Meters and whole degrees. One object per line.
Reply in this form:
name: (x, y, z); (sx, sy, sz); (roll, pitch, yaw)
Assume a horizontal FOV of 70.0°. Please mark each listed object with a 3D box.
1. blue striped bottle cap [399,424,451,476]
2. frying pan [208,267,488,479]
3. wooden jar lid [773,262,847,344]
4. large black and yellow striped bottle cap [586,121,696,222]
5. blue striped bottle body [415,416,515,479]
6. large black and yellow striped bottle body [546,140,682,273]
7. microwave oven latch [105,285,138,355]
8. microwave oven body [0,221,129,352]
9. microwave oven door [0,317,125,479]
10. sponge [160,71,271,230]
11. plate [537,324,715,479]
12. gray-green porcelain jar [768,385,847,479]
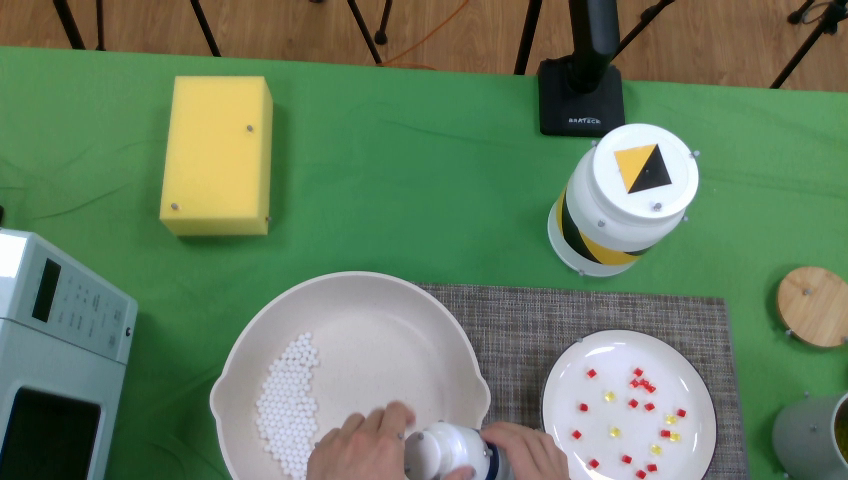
blue striped bottle cap: (0.000, 0.183, 0.528); (0.044, 0.021, 0.044); (-13, 67, 35)
frying pan: (-0.085, 0.269, 0.646); (0.307, 0.103, 0.483); (2, 62, 0)
wooden jar lid: (0.507, 0.083, 0.791); (0.108, 0.021, 0.107); (1, 72, -2)
large black and yellow striped bottle cap: (0.234, -0.075, 0.654); (0.115, 0.019, 0.114); (1, 69, -2)
blue striped bottle body: (0.031, 0.200, 0.568); (0.063, 0.122, 0.062); (-15, 63, 33)
large black and yellow striped bottle body: (0.231, -0.046, 0.735); (0.131, 0.185, 0.130); (1, 70, -2)
microwave oven latch: (-0.360, 0.093, 0.711); (0.030, 0.029, 0.078); (6, 71, -1)
microwave oven body: (-0.512, 0.218, 0.557); (0.326, 0.261, 0.439); (3, 71, -2)
microwave oven door: (-0.369, 0.264, 0.543); (0.039, 0.245, 0.353); (3, 70, -2)
sponge: (-0.269, -0.118, 0.797); (0.118, 0.061, 0.205); (-2, 71, -4)
plate: (0.235, 0.204, 0.720); (0.209, 0.038, 0.207); (1, 71, -2)
gray-green porcelain jar: (0.467, 0.222, 0.684); (0.106, 0.127, 0.105); (1, 70, -3)
